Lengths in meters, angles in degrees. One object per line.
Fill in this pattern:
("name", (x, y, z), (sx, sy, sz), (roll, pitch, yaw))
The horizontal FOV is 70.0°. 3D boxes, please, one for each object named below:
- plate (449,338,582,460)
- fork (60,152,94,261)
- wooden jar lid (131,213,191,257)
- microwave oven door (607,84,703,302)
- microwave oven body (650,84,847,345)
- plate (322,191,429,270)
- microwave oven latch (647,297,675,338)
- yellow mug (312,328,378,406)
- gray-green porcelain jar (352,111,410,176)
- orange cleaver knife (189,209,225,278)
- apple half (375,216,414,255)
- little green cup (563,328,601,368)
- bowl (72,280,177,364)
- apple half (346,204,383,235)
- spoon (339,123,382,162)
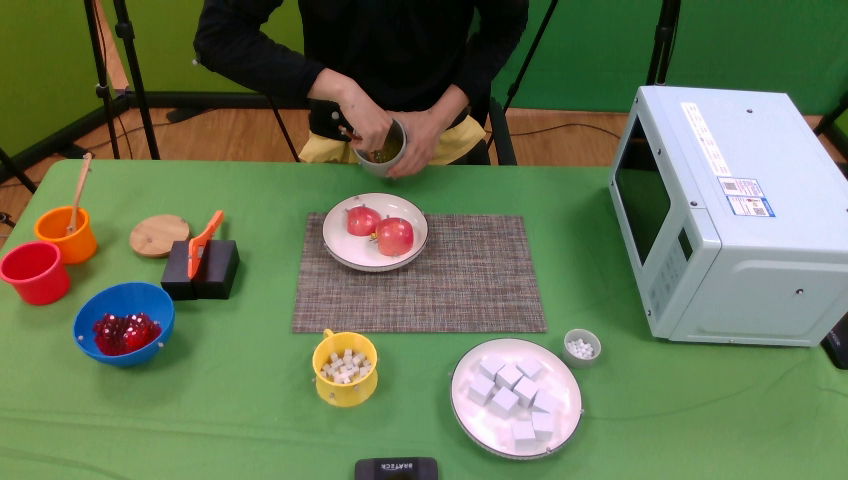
("plate", (0.141, 0.251, 0.956), (0.208, 0.039, 0.206), (2, 46, -2))
("fork", (-0.638, -0.063, 1.119), (0.028, 0.018, 0.207), (12, 90, 7))
("wooden jar lid", (-0.504, -0.008, 1.167), (0.108, 0.021, 0.107), (3, 46, -3))
("microwave oven door", (0.424, -0.096, 1.138), (0.039, 0.245, 0.353), (3, 46, -1))
("microwave oven body", (0.569, -0.054, 1.116), (0.326, 0.261, 0.439), (2, 46, -1))
("plate", (-0.093, -0.015, 1.185), (0.209, 0.038, 0.208), (2, 46, -2))
("microwave oven latch", (0.413, 0.133, 1.060), (0.030, 0.029, 0.078), (5, 46, 2))
("yellow mug", (-0.132, 0.193, 0.971), (0.100, 0.064, 0.130), (-22, 51, -22))
("gray-green porcelain jar", (-0.084, -0.189, 1.220), (0.106, 0.126, 0.105), (0, 83, 3))
("orange cleaver knife", (-0.401, 0.002, 1.122), (0.012, 0.077, 0.210), (3, 22, -4))
("apple half", (-0.056, -0.017, 1.169), (0.075, 0.053, 0.080), (0, 46, -7))
("little green cup", (0.265, 0.184, 1.025), (0.061, 0.039, 0.061), (1, 46, -1))
("bowl", (-0.472, 0.147, 0.982), (0.151, 0.077, 0.150), (2, 46, -2))
("apple half", (-0.119, -0.049, 1.207), (0.081, 0.033, 0.081), (2, 50, -2))
("spoon", (-0.115, -0.179, 1.158), (0.021, 0.195, 0.041), (-44, 63, -1))
